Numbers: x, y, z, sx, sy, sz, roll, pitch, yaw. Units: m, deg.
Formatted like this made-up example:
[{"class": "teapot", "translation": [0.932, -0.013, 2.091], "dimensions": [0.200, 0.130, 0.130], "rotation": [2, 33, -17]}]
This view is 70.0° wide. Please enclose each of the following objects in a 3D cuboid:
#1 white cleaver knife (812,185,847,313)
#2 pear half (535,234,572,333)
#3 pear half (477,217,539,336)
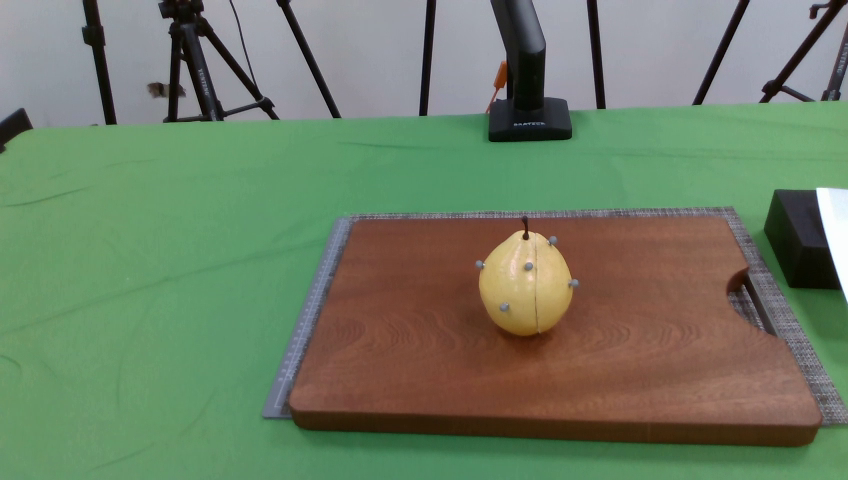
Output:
[{"class": "white cleaver knife", "translation": [0.387, 0.054, 0.508], "dimensions": [0.065, 0.022, 0.284], "rotation": [0, 47, 14]}, {"class": "pear half", "translation": [0.108, 0.035, 0.508], "dimensions": [0.031, 0.088, 0.070], "rotation": [-1, 29, 7]}, {"class": "pear half", "translation": [0.072, 0.027, 0.508], "dimensions": [0.056, 0.111, 0.076], "rotation": [0, 32, 8]}]
